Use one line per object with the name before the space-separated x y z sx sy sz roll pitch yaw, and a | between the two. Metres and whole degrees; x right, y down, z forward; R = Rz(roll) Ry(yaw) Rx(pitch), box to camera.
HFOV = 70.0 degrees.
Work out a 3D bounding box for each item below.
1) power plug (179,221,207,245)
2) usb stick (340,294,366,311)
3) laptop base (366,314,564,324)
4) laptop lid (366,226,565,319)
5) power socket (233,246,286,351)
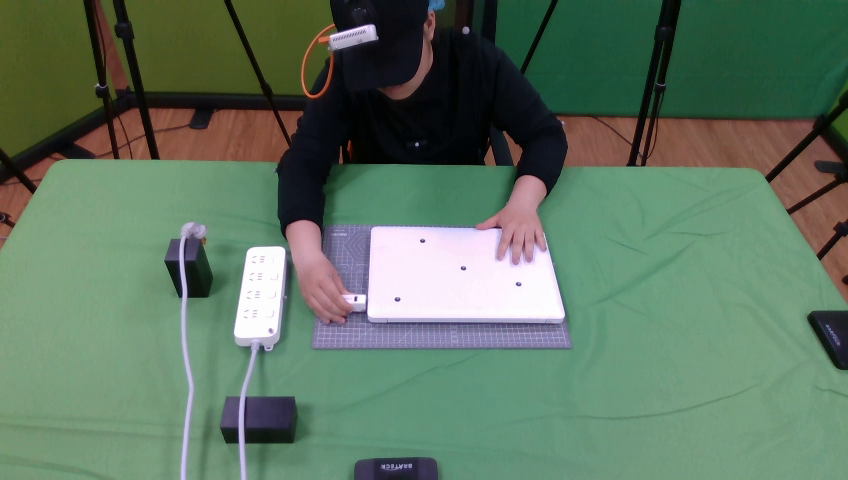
power plug | -0.412 -0.002 1.070 0.035 0.053 0.072 -2 42 24
usb stick | -0.119 0.111 1.067 0.059 0.027 0.021 5 51 -7
laptop base | 0.071 0.065 1.144 0.355 0.023 0.234 1 43 -4
laptop lid | 0.072 0.055 1.137 0.357 0.013 0.240 2 44 -3
power socket | -0.289 0.095 1.077 0.072 0.033 0.225 -2 47 -5
